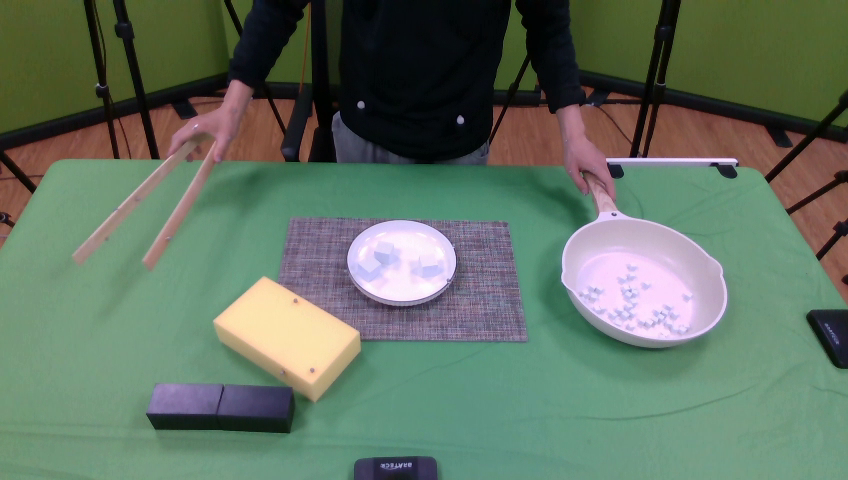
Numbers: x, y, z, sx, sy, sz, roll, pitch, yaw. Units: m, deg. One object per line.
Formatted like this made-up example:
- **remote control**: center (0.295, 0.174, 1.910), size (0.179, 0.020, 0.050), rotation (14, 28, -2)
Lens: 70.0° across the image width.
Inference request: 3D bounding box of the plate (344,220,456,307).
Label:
- **plate**: center (-0.045, 0.047, 1.133), size (0.208, 0.039, 0.206), rotation (3, 46, -2)

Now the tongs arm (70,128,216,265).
- **tongs arm**: center (-0.509, -0.093, 1.132), size (0.050, 0.027, 0.383), rotation (5, 45, 18)

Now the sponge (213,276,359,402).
- **sponge**: center (-0.225, 0.158, 0.998), size (0.206, 0.061, 0.118), rotation (27, 52, 18)

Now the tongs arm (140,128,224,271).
- **tongs arm**: center (-0.435, -0.089, 1.113), size (0.028, 0.028, 0.385), rotation (-6, 43, 12)

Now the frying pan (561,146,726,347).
- **frying pan**: center (0.378, -0.005, 1.175), size (0.307, 0.103, 0.484), rotation (-4, 55, -9)
